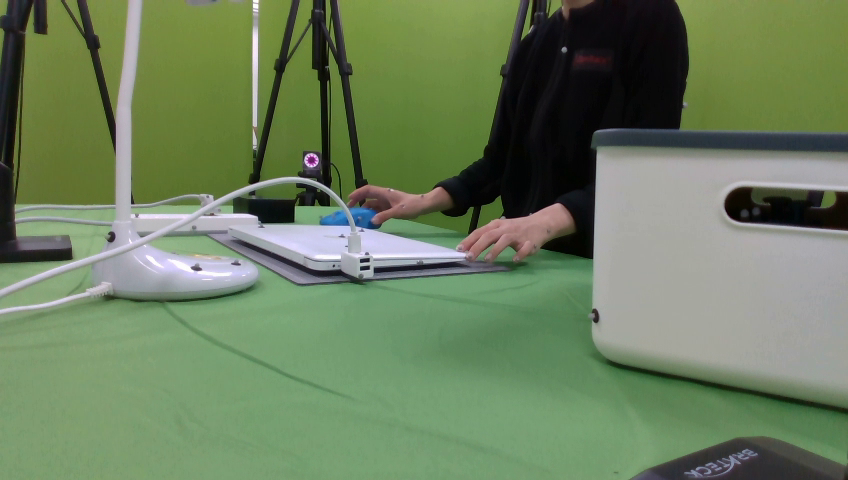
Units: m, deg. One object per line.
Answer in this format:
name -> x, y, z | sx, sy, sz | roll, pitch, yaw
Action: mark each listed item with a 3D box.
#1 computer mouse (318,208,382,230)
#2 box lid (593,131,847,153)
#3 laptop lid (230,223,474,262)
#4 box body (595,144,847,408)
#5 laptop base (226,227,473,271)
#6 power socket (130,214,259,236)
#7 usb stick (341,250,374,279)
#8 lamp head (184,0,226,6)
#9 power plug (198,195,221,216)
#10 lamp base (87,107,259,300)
computer mouse -> -0.140, -0.039, 1.142 | 0.118, 0.041, 0.062 | -7, 13, -28
box lid -> 0.311, -0.067, 0.498 | 0.262, 0.015, 0.373 | 6, 7, 30
laptop lid -> -0.121, 0.000, 0.888 | 0.243, 0.013, 0.355 | 1, 7, -33
box body -> 0.309, 0.007, 0.508 | 0.253, 0.160, 0.366 | 6, 8, 30
laptop base -> -0.124, 0.011, 0.889 | 0.237, 0.023, 0.352 | 2, 6, -35
power socket -> -0.397, -0.028, 1.048 | 0.228, 0.032, 0.072 | -3, 7, -35
usb stick -> -0.078, 0.026, 0.686 | 0.021, 0.027, 0.059 | -8, 8, -30
lamp head -> -0.229, -0.320, 0.627 | 0.112, 0.112, 0.123 | 6, -35, 26
power plug -> -0.386, -0.055, 1.088 | 0.035, 0.052, 0.072 | -2, 6, -24
lamp base -> -0.254, -0.039, 0.603 | 0.160, 0.180, 0.179 | 5, 10, 18
